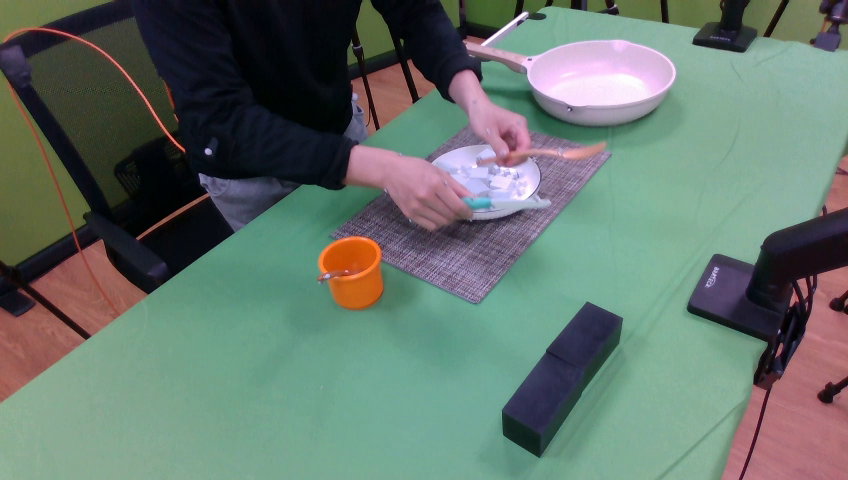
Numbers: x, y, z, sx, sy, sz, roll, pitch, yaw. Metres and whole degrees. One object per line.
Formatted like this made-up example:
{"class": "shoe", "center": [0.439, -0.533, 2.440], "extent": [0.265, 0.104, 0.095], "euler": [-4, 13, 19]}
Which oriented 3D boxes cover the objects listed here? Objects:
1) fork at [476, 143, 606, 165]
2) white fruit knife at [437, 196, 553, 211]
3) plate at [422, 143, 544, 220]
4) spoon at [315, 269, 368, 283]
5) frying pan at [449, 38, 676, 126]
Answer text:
{"class": "fork", "center": [0.161, -0.122, 0.868], "extent": [0.206, 0.019, 0.028], "euler": [2, 25, 37]}
{"class": "white fruit knife", "center": [0.088, -0.049, 0.806], "extent": [0.206, 0.027, 0.016], "euler": [1, 59, 48]}
{"class": "plate", "center": [0.102, -0.097, 1.048], "extent": [0.207, 0.039, 0.206], "euler": [-4, 40, 4]}
{"class": "spoon", "center": [-0.116, 0.049, 0.831], "extent": [0.041, 0.194, 0.021], "euler": [-4, 85, 9]}
{"class": "frying pan", "center": [0.272, -0.363, 1.287], "extent": [0.485, 0.103, 0.307], "euler": [23, 48, 19]}
